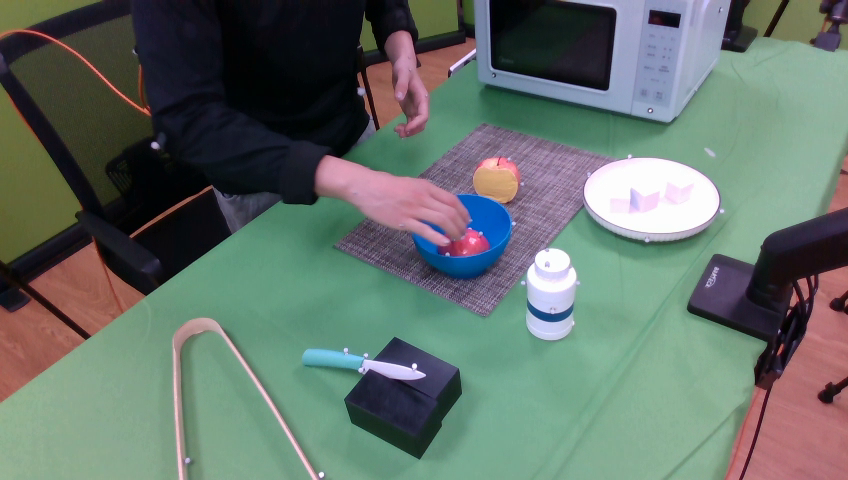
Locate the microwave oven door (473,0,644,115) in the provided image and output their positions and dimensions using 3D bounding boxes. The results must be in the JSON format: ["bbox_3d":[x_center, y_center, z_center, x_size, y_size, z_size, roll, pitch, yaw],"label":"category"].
[{"bbox_3d":[0.257,-0.396,1.199,0.353,0.245,0.039,21,48,29],"label":"microwave oven door"}]

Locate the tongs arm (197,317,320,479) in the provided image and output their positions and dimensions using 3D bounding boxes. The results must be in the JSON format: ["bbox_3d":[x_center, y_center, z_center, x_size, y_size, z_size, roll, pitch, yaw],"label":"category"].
[{"bbox_3d":[-0.200,0.207,0.750,0.028,0.028,0.384,-31,45,-22],"label":"tongs arm"}]

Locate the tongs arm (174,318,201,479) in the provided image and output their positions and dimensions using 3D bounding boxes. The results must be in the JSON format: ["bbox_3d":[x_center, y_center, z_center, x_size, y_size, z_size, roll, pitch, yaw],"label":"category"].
[{"bbox_3d":[-0.272,0.234,0.723,0.051,0.026,0.381,-19,40,-14],"label":"tongs arm"}]

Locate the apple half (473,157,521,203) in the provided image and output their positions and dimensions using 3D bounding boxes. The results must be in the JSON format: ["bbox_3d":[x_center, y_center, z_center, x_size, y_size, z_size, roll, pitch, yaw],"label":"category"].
[{"bbox_3d":[0.128,-0.107,1.030,0.080,0.075,0.053,4,38,19],"label":"apple half"}]

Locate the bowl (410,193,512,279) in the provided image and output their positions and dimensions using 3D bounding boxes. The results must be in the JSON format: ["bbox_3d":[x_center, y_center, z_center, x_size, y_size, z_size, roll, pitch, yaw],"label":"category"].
[{"bbox_3d":[0.058,0.005,0.905,0.151,0.077,0.150,-4,40,4],"label":"bowl"}]

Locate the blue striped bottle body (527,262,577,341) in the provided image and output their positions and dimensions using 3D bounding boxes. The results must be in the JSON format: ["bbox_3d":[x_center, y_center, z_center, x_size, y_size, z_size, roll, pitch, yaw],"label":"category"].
[{"bbox_3d":[0.165,0.070,0.786,0.063,0.121,0.063,-4,41,4],"label":"blue striped bottle body"}]

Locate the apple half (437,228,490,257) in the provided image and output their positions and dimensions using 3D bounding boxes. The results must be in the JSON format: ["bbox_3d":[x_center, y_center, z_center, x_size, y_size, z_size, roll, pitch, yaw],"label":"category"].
[{"bbox_3d":[0.056,0.002,0.901,0.081,0.033,0.081,-3,39,3],"label":"apple half"}]

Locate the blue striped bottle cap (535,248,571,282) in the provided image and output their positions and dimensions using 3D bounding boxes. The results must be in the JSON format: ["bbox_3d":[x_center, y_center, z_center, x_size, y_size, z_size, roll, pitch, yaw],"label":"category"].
[{"bbox_3d":[0.161,0.031,0.753,0.044,0.021,0.044,-4,42,4],"label":"blue striped bottle cap"}]

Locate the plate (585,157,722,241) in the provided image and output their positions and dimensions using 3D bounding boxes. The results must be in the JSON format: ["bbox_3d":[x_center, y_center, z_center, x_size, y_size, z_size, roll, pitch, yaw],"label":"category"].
[{"bbox_3d":[0.367,-0.063,0.979,0.207,0.039,0.206,-4,40,4],"label":"plate"}]

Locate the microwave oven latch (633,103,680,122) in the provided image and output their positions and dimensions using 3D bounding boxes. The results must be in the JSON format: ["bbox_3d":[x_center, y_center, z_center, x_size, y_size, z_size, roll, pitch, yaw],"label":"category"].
[{"bbox_3d":[0.444,-0.249,1.158,0.078,0.029,0.030,21,49,30],"label":"microwave oven latch"}]

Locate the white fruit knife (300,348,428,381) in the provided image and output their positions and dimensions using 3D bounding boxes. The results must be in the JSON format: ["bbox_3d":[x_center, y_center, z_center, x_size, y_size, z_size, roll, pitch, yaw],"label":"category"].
[{"bbox_3d":[-0.080,0.154,0.748,0.206,0.027,0.016,0,20,34],"label":"white fruit knife"}]

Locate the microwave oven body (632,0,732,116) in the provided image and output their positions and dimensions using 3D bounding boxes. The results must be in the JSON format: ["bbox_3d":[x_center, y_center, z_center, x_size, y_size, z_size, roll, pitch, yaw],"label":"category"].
[{"bbox_3d":[0.377,-0.463,1.267,0.438,0.261,0.327,21,49,30],"label":"microwave oven body"}]
